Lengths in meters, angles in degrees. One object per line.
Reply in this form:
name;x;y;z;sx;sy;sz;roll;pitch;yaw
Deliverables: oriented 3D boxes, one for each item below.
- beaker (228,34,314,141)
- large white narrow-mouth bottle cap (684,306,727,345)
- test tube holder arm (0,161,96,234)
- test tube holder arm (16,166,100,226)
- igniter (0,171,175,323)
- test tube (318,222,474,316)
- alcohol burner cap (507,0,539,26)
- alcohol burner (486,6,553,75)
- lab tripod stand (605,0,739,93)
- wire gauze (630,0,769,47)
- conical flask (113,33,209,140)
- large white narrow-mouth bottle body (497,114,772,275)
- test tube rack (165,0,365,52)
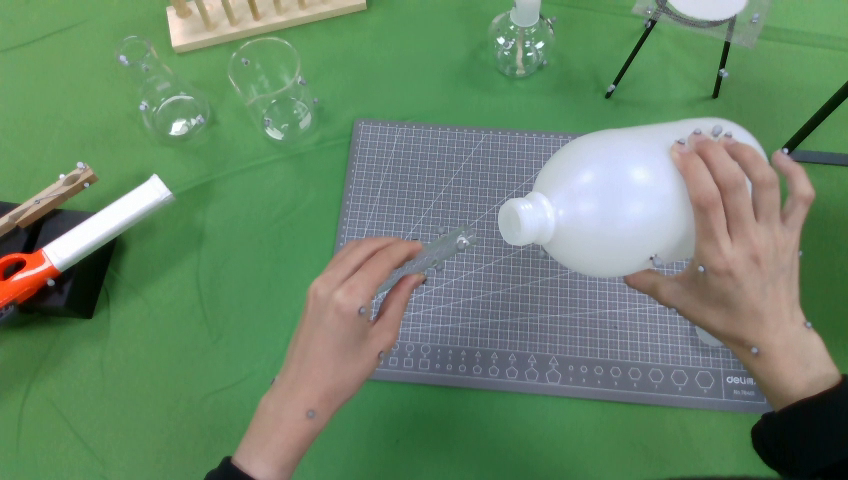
beaker;-0.164;-0.160;0.666;0.074;0.101;0.083;19;70;9
large white narrow-mouth bottle cap;0.282;0.086;0.604;0.038;0.024;0.037;0;70;1
test tube holder arm;-0.412;-0.022;0.607;0.178;0.015;0.013;-38;73;-14
test tube holder arm;-0.374;-0.045;0.616;0.088;0.015;0.010;-37;73;-13
igniter;-0.371;0.023;0.586;0.276;0.025;0.057;-38;74;-16
test tube;-0.025;0.025;0.443;0.150;0.017;0.017;-29;64;31
alcohol burner cap;0.109;-0.260;0.655;0.034;0.048;0.033;0;67;0
alcohol burner;0.111;-0.245;0.688;0.078;0.120;0.077;0;67;0
lab tripod stand;0.279;-0.231;0.669;0.148;0.132;0.147;0;68;0
wire gauze;0.285;-0.257;0.606;0.121;0.011;0.124;25;72;8
conical flask;-0.290;-0.170;0.659;0.075;0.122;0.075;0;68;1
large white narrow-mouth bottle body;0.138;-0.029;0.421;0.195;0.102;0.101;-12;67;-25
test tube rack;-0.200;-0.308;0.731;0.242;0.086;0.066;-15;69;-5
